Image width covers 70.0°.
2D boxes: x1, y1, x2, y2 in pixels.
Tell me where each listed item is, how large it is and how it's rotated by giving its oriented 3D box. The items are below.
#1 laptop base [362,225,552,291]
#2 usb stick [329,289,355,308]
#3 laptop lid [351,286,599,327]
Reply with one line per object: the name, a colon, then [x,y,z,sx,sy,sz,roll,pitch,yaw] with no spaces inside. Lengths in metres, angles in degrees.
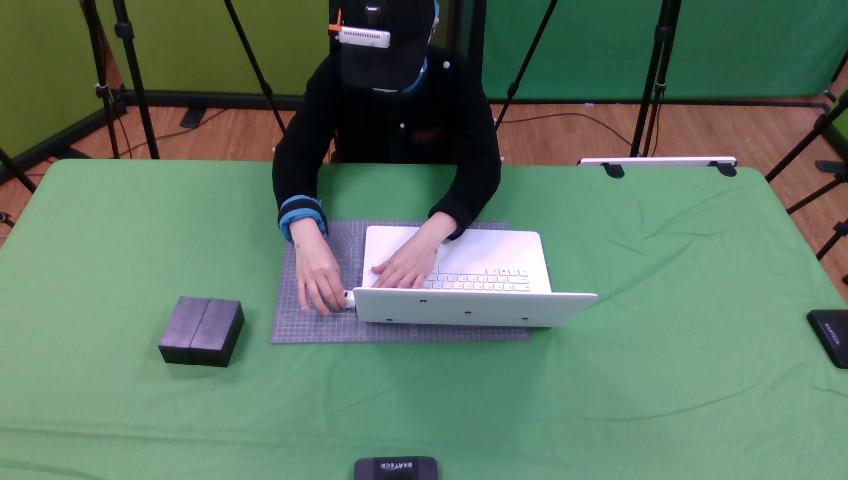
laptop base: [0.061,0.063,1.145,0.354,0.023,0.234,2,43,-3]
usb stick: [-0.137,0.104,1.070,0.059,0.027,0.021,7,45,-3]
laptop lid: [0.068,0.109,0.952,0.357,0.242,0.013,2,71,-4]
